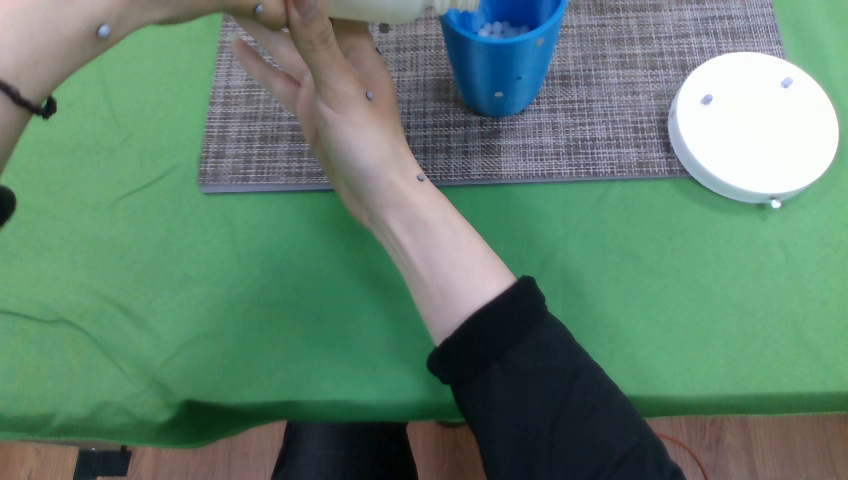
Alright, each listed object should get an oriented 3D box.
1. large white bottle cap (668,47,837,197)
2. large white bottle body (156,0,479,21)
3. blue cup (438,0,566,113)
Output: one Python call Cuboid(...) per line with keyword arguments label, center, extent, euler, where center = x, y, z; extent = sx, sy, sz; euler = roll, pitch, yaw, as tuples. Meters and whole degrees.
Cuboid(label="large white bottle cap", center=(0.236, -0.087, 0.438), extent=(0.115, 0.018, 0.114), euler=(0, 72, 1))
Cuboid(label="large white bottle body", center=(-0.058, -0.184, 0.310), extent=(0.184, 0.131, 0.129), euler=(5, 69, 1))
Cuboid(label="blue cup", center=(0.053, -0.142, 0.425), extent=(0.092, 0.101, 0.092), euler=(-2, 67, 5))
